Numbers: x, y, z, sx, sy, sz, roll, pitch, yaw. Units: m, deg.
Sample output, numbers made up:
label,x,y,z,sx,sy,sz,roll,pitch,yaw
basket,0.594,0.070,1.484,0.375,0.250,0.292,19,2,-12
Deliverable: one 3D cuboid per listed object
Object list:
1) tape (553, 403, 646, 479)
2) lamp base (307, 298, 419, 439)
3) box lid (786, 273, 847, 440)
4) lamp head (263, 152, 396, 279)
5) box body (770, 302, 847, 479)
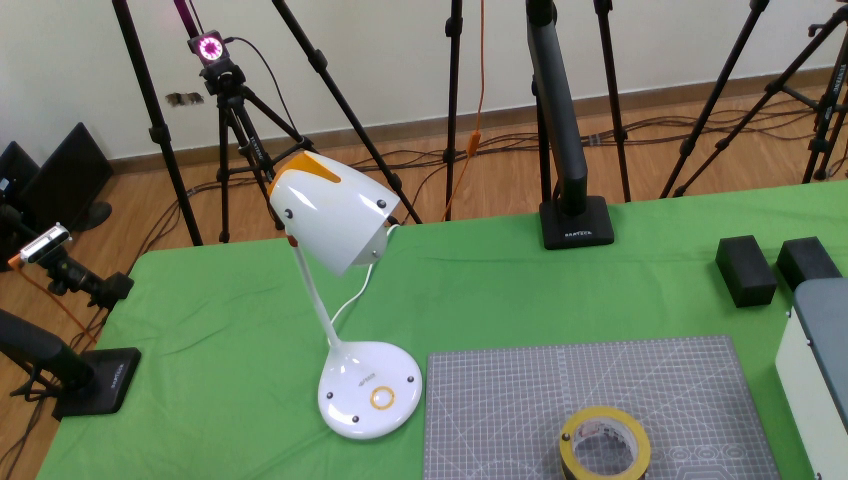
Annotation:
label,x,y,z,sx,sy,sz,roll,pitch,yaw
tape,0.226,0.272,0.780,0.117,0.053,0.115,-6,46,7
lamp base,-0.110,0.170,0.870,0.177,0.182,0.160,26,57,35
box lid,0.565,0.171,0.620,0.263,0.015,0.368,-5,46,9
lamp head,-0.110,-0.033,0.648,0.123,0.113,0.112,34,56,-3
box body,0.577,0.222,0.672,0.254,0.162,0.360,-5,46,9
